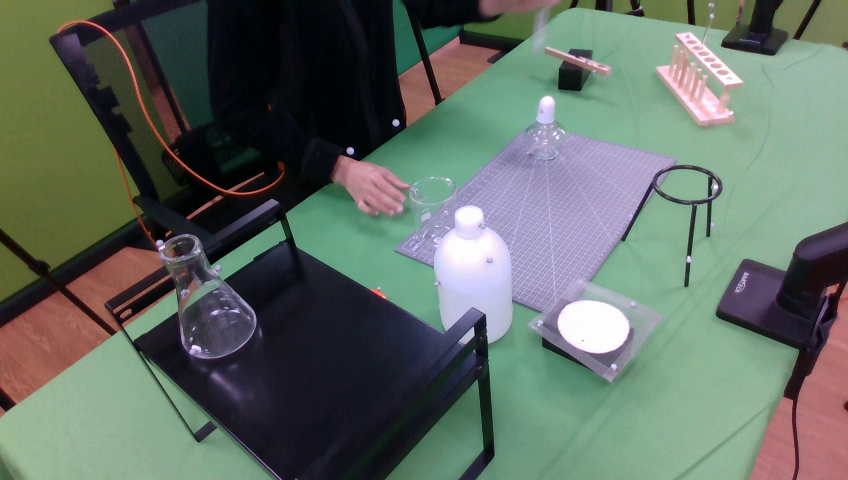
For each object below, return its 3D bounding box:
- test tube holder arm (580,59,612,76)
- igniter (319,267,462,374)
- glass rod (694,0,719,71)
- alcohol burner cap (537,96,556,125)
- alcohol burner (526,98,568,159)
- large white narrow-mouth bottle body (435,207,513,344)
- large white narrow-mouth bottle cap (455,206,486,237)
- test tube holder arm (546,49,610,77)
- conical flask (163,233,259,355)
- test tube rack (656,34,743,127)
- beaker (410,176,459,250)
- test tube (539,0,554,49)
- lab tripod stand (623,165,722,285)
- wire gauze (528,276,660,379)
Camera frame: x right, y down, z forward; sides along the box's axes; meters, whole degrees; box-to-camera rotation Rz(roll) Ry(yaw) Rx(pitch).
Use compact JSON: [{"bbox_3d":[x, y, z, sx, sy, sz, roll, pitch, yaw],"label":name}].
[{"bbox_3d":[0.363,-0.369,1.289,0.010,0.015,0.087,-27,43,-29],"label":"test tube holder arm"},{"bbox_3d":[-0.059,0.107,0.862,0.274,0.025,0.057,28,62,34],"label":"igniter"},{"bbox_3d":[0.561,-0.401,1.214,0.008,0.200,0.008,-1,48,2],"label":"glass rod"},{"bbox_3d":[0.223,-0.237,1.095,0.034,0.048,0.033,0,42,1],"label":"alcohol burner cap"},{"bbox_3d":[0.228,-0.210,1.118,0.078,0.119,0.077,-5,43,5],"label":"alcohol burner"},{"bbox_3d":[0.065,0.041,0.791,0.102,0.195,0.101,-4,41,4],"label":"large white narrow-mouth bottle body"},{"bbox_3d":[0.057,-0.023,0.734,0.038,0.024,0.037,-4,41,4],"label":"large white narrow-mouth bottle cap"},{"bbox_3d":[0.331,-0.387,1.315,0.013,0.015,0.177,-26,43,-28],"label":"test tube holder arm"},{"bbox_3d":[-0.216,0.051,0.601,0.075,0.122,0.075,-4,40,4],"label":"conical flask"},{"bbox_3d":[0.553,-0.330,1.233,0.067,0.085,0.241,-7,40,2],"label":"test tube rack"},{"bbox_3d":[0.022,-0.041,0.963,0.073,0.101,0.084,28,51,35],"label":"beaker"},{"bbox_3d":[0.215,-0.404,1.047,0.017,0.151,0.017,0,42,0],"label":"test tube"},{"bbox_3d":[0.365,-0.030,0.875,0.148,0.132,0.147,-6,41,6],"label":"lab tripod stand"},{"bbox_3d":[0.214,0.103,0.763,0.124,0.011,0.122,30,52,35],"label":"wire gauze"}]
